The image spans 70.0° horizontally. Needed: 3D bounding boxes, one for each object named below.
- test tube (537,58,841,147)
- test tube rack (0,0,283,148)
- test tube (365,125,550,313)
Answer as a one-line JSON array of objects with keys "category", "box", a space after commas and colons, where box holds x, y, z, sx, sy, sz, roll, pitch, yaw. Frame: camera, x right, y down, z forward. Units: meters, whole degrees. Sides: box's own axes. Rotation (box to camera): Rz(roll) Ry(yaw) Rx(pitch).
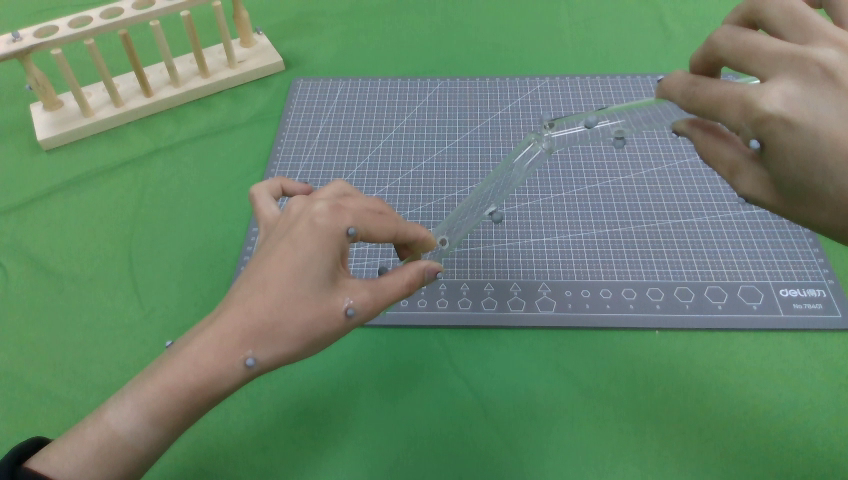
[{"category": "test tube", "box": [0.130, -0.068, 0.297, 0.150, 0.017, 0.017, -12, 50, -1]}, {"category": "test tube rack", "box": [-0.271, -0.182, 0.591, 0.242, 0.086, 0.066, -24, 53, -17]}, {"category": "test tube", "box": [0.013, -0.006, 0.334, 0.017, 0.151, 0.017, 31, 32, -22]}]
